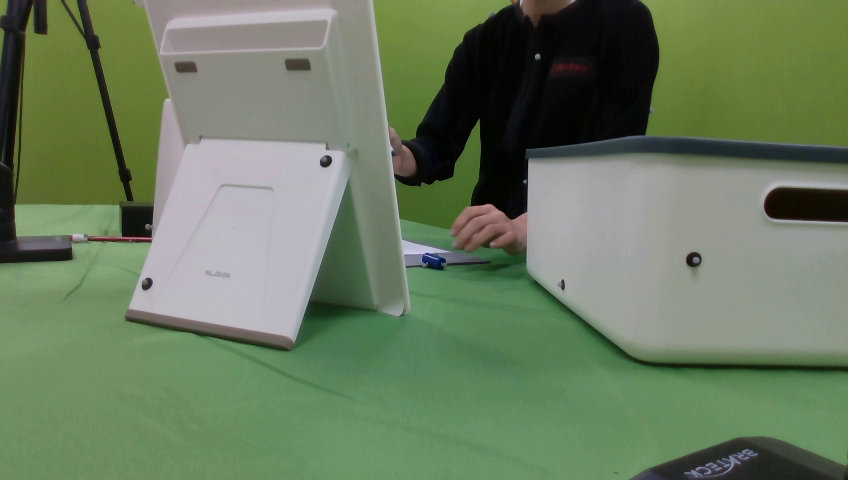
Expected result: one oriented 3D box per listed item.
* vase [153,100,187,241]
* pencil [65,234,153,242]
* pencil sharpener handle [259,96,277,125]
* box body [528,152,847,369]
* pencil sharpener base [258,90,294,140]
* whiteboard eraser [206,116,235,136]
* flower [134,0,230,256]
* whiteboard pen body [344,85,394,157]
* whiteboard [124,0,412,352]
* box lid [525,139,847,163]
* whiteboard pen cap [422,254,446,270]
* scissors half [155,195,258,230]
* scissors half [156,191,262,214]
[{"bbox_3d":[-0.278,-0.066,0.736,0.098,0.200,0.098,2,9,0],"label":"vase"},{"bbox_3d":[-0.429,-0.001,0.911,0.195,0.012,0.012,1,8,-19],"label":"pencil"},{"bbox_3d":[-0.373,-0.304,1.425,0.036,0.067,0.030,13,-1,-37],"label":"pencil sharpener handle"},{"bbox_3d":[0.258,-0.005,0.591,0.254,0.160,0.363,2,7,-4],"label":"box body"},{"bbox_3d":[-0.341,-0.285,1.388,0.062,0.107,0.076,-3,9,-36],"label":"pencil sharpener base"},{"bbox_3d":[-0.449,-0.251,1.335,0.056,0.042,0.112,1,7,-22],"label":"whiteboard eraser"},{"bbox_3d":[-0.282,-0.146,0.713,0.038,0.362,0.044,-23,23,-31],"label":"flower"},{"bbox_3d":[-0.078,-0.170,0.866,0.017,0.017,0.140,-6,56,-47],"label":"whiteboard pen body"},{"bbox_3d":[-0.151,-0.049,0.472,0.216,0.305,0.144,6,27,24],"label":"whiteboard"},{"bbox_3d":[0.261,-0.078,0.580,0.264,0.015,0.371,2,7,-4],"label":"box lid"},{"bbox_3d":[0.013,0.029,0.807,0.018,0.018,0.033,-4,14,-42],"label":"whiteboard pen cap"},{"bbox_3d":[-0.378,-0.051,1.059,0.176,0.040,0.012,20,22,-31],"label":"scissors half"},{"bbox_3d":[-0.371,-0.069,1.051,0.176,0.040,0.013,1,26,-24],"label":"scissors half"}]
